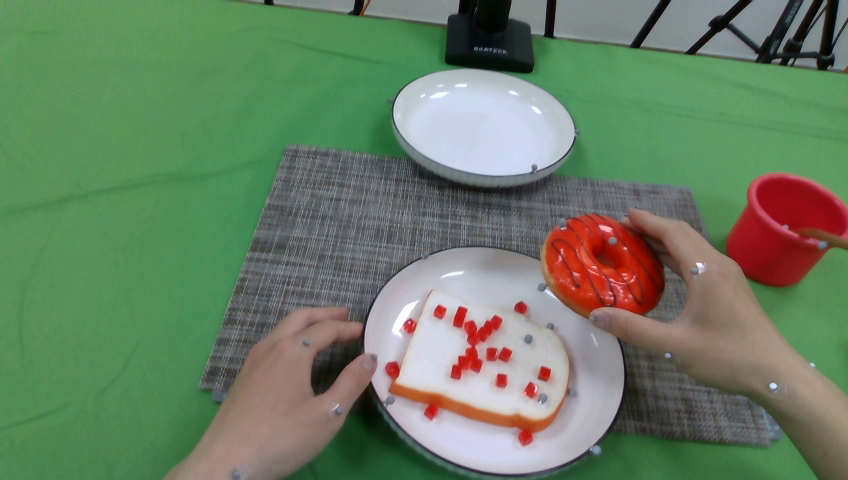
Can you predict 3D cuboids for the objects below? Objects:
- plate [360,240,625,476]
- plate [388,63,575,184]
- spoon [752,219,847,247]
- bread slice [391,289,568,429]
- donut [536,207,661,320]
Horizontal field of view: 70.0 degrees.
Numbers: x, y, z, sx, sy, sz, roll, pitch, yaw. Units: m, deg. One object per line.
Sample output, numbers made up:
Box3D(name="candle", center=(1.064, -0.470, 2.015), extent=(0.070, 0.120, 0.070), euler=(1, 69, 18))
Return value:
Box3D(name="plate", center=(0.053, 0.088, 0.486), extent=(0.209, 0.038, 0.207), euler=(4, 48, -4))
Box3D(name="plate", center=(0.063, -0.129, 0.684), extent=(0.208, 0.039, 0.205), euler=(4, 46, -4))
Box3D(name="spoon", center=(0.338, -0.008, 0.543), extent=(0.041, 0.021, 0.194), euler=(22, 6, 11))
Box3D(name="bread slice", center=(0.050, 0.093, 0.486), extent=(0.131, 0.019, 0.104), euler=(13, 49, 8))
Box3D(name="donut", center=(0.135, 0.019, 0.472), extent=(0.099, 0.048, 0.098), euler=(8, 49, -9))
